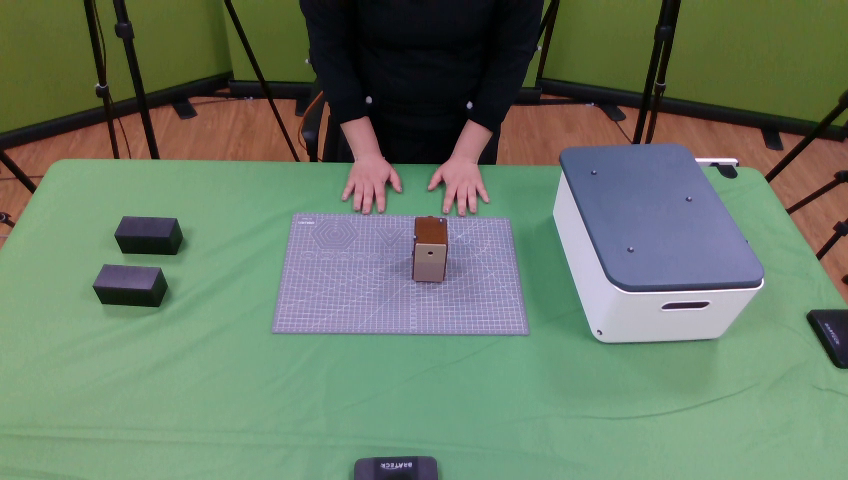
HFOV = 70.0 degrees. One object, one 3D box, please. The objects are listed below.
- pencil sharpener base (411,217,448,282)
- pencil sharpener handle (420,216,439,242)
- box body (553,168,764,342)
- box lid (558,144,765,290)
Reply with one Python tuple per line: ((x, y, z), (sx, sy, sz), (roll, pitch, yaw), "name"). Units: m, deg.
((0.009, 0.017, 1.118), (0.061, 0.107, 0.076), (2, 45, -2), "pencil sharpener base")
((0.008, -0.027, 1.145), (0.036, 0.068, 0.030), (6, 45, -6), "pencil sharpener handle")
((0.404, 0.006, 1.125), (0.254, 0.161, 0.361), (-2, 46, -5), "box body")
((0.404, -0.054, 1.073), (0.263, 0.015, 0.369), (-2, 45, -5), "box lid")
